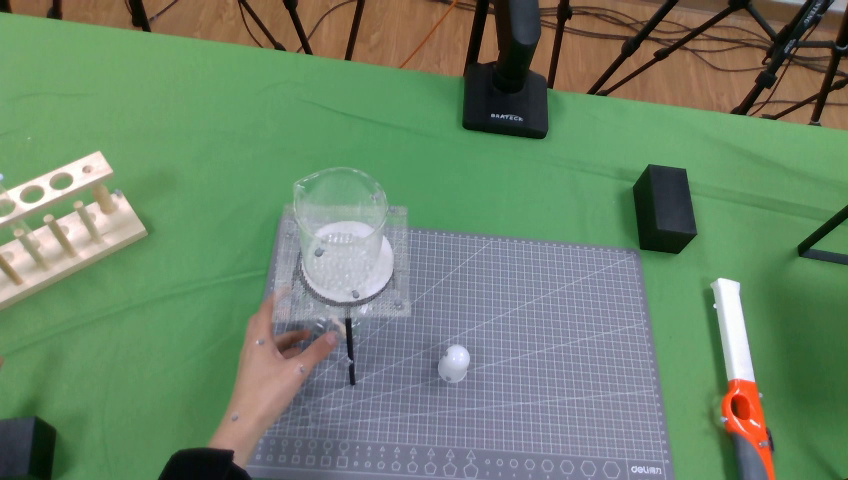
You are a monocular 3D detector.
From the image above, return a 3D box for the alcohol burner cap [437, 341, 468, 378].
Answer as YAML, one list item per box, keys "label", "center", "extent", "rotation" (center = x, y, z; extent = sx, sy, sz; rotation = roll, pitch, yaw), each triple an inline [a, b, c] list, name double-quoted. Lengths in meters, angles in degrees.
- label: "alcohol burner cap"
  center: [0.031, 0.125, 0.644]
  extent: [0.034, 0.048, 0.033]
  rotation: [2, 62, -4]

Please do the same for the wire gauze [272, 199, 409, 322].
- label: "wire gauze"
  center: [-0.076, 0.015, 0.564]
  extent: [0.122, 0.011, 0.124]
  rotation: [0, 64, -6]

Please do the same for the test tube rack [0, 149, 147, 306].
- label: "test tube rack"
  center: [-0.429, 0.006, 0.627]
  extent: [0.242, 0.086, 0.066]
  rotation: [-32, 69, -23]

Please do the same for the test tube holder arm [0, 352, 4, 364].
- label: "test tube holder arm"
  center: [-0.399, 0.140, 0.537]
  extent: [0.010, 0.015, 0.087]
  rotation: [8, 58, -3]

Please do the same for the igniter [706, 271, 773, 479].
- label: "igniter"
  center: [0.352, 0.161, 0.678]
  extent: [0.057, 0.025, 0.274]
  rotation: [13, 59, -12]

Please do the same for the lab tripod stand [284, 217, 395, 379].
- label: "lab tripod stand"
  center: [-0.081, 0.052, 0.617]
  extent: [0.149, 0.132, 0.147]
  rotation: [4, 60, -7]

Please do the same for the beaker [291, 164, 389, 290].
- label: "beaker"
  center: [-0.075, -0.007, 0.520]
  extent: [0.084, 0.101, 0.073]
  rotation: [28, 60, 8]

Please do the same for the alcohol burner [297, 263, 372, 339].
- label: "alcohol burner"
  center: [-0.092, 0.056, 0.625]
  extent: [0.078, 0.120, 0.077]
  rotation: [5, 59, -7]

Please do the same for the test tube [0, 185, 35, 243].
- label: "test tube"
  center: [-0.420, -0.041, 0.599]
  extent: [0.017, 0.151, 0.017]
  rotation: [4, 55, -6]
